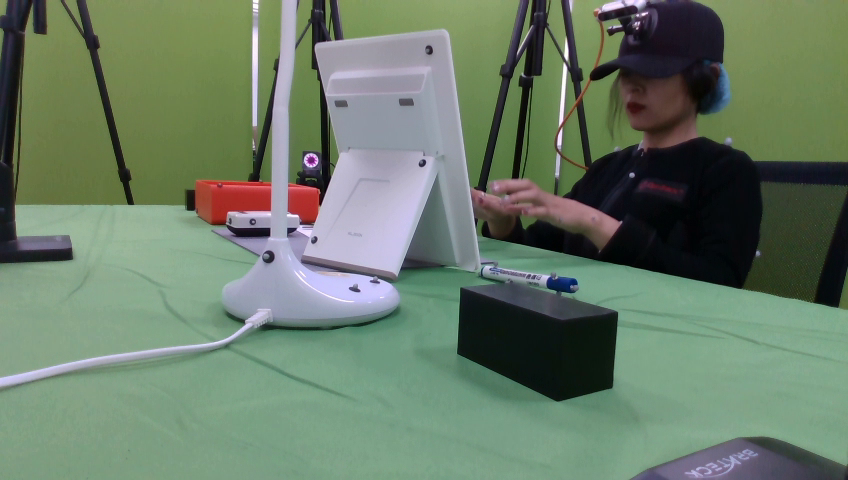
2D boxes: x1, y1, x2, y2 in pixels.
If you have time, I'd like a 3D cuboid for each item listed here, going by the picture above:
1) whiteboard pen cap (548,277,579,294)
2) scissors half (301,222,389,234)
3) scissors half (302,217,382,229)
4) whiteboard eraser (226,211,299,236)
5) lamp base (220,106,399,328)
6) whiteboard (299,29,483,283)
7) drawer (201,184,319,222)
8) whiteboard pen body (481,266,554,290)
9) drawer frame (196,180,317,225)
[{"bbox_3d":[0.148,0.049,0.647,0.018,0.018,0.033,-3,3,-36],"label":"whiteboard pen cap"},{"bbox_3d":[-0.152,-0.023,1.182,0.176,0.013,0.040,1,24,-21],"label":"scissors half"},{"bbox_3d":[-0.161,-0.031,1.199,0.176,0.013,0.040,-8,23,-39],"label":"scissors half"},{"bbox_3d":[-0.276,-0.029,1.035,0.113,0.042,0.055,-3,7,-35],"label":"whiteboard eraser"},{"bbox_3d":[-0.101,-0.023,0.531,0.160,0.180,0.179,4,10,10],"label":"lamp base"},{"bbox_3d":[-0.074,-0.082,0.742,0.216,0.305,0.144,9,29,38],"label":"whiteboard"},{"bbox_3d":[-0.353,-0.082,1.296,0.213,0.073,0.193,-2,10,-28],"label":"drawer"},{"bbox_3d":[0.115,0.044,0.695,0.017,0.017,0.140,-3,6,-35],"label":"whiteboard pen body"},{"bbox_3d":[-0.359,-0.083,1.292,0.215,0.082,0.200,-2,10,-30],"label":"drawer frame"}]
